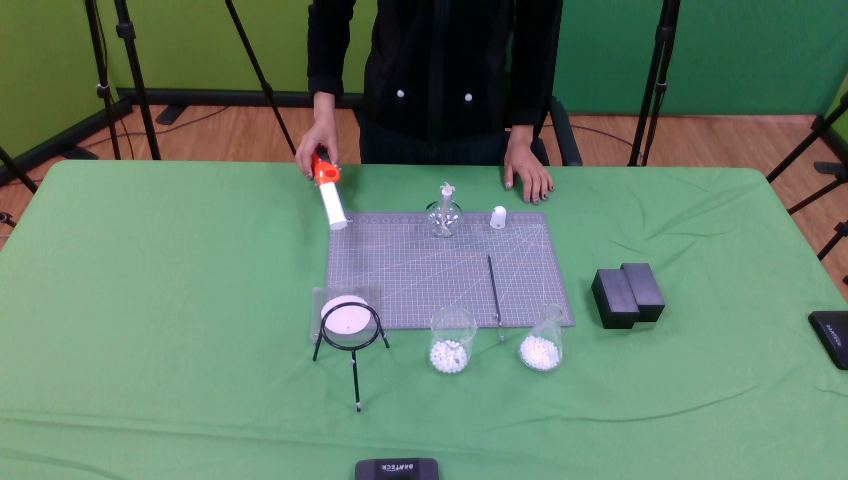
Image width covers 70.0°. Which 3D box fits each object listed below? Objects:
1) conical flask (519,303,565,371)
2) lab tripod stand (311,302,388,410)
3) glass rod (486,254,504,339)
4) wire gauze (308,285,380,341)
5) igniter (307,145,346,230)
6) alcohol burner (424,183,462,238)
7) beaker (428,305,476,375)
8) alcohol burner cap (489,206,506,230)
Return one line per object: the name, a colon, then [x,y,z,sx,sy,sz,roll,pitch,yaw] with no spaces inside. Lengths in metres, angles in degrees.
conical flask: [0.201,0.155,0.997,0.075,0.122,0.075,2,46,-2]
lab tripod stand: [-0.113,0.168,0.951,0.148,0.132,0.147,2,44,-2]
glass rod: [0.129,0.099,1.119,0.008,0.008,0.198,-1,47,-4]
wire gauze: [-0.141,0.128,1.071,0.125,0.011,0.120,-1,46,-5]
igniter: [-0.196,-0.113,1.209,0.057,0.025,0.274,-12,42,-11]
alcohol burner: [0.039,-0.063,1.197,0.078,0.119,0.077,2,44,-2]
beaker: [0.044,0.169,0.987,0.074,0.101,0.083,1,47,-3]
alcohol burner cap: [0.152,-0.047,1.241,0.034,0.048,0.033,2,45,-2]
